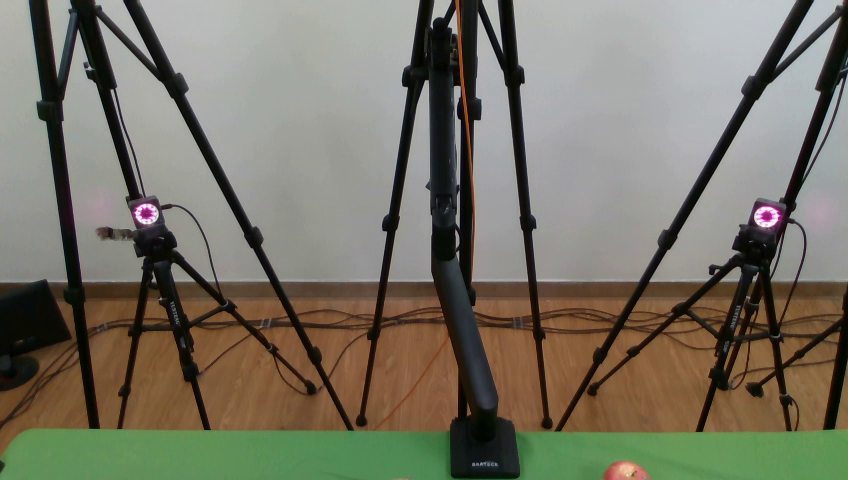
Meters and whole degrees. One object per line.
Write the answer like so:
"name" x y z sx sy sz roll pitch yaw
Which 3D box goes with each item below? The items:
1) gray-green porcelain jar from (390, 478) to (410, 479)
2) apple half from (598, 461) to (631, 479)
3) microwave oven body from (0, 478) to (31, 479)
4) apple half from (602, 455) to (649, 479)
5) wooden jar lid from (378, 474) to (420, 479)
"gray-green porcelain jar" -0.037 0.434 0.893 0.106 0.127 0.105 0 34 0
"apple half" 0.304 0.404 0.978 0.033 0.082 0.080 -16 37 -29
"microwave oven body" -0.528 0.517 0.646 0.326 0.262 0.438 3 35 4
"apple half" 0.336 0.393 0.997 0.053 0.075 0.080 -15 32 -29
"wooden jar lid" -0.037 0.382 0.857 0.108 0.021 0.107 -1 32 1
